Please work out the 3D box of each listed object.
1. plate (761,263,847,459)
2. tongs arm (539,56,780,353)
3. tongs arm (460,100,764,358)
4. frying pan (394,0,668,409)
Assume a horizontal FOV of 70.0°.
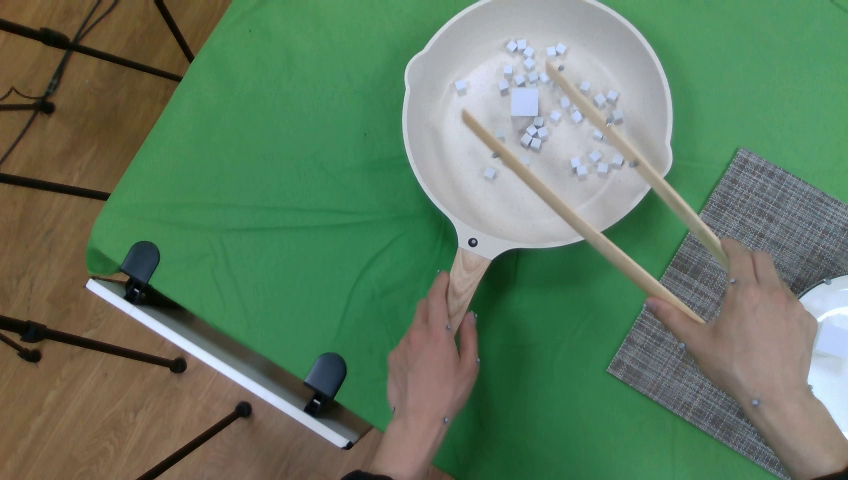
[{"bbox_3d":[0.464,0.127,0.645,0.207,0.039,0.207,-1,84,5],"label":"plate"},{"bbox_3d":[0.210,-0.057,0.604,0.051,0.027,0.381,-29,60,-10],"label":"tongs arm"},{"bbox_3d":[0.158,-0.026,0.595,0.028,0.028,0.384,-34,61,-16],"label":"tongs arm"},{"bbox_3d":[0.075,-0.047,0.667,0.306,0.103,0.486,24,78,8],"label":"frying pan"}]
